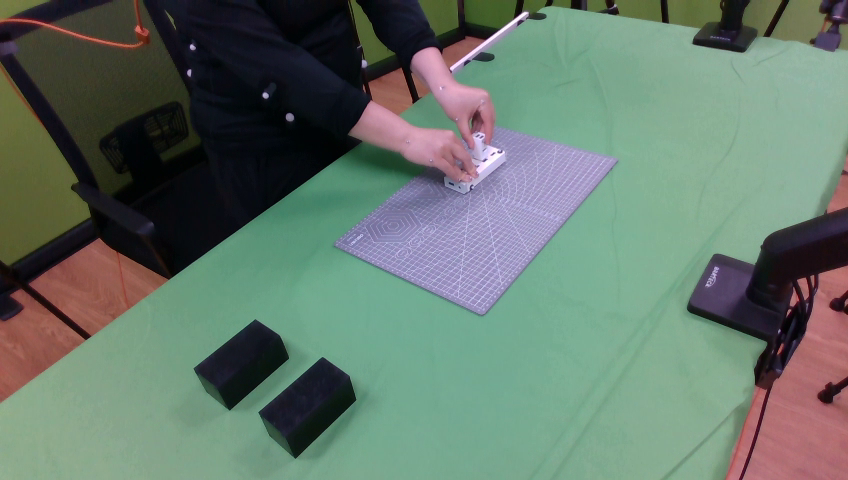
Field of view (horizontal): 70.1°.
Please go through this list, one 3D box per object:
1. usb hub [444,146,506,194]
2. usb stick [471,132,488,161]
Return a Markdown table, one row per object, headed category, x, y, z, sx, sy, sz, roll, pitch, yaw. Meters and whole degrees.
| category | x | y | z | sx | sy | sz | roll | pitch | yaw |
| --- | --- | --- | --- | --- | --- | --- | --- | --- | --- |
| usb hub | 0.094 | -0.129 | 1.102 | 0.049 | 0.025 | 0.125 | 26 | 51 | 33 |
| usb stick | 0.100 | -0.163 | 1.093 | 0.027 | 0.059 | 0.021 | 26 | 50 | 27 |
